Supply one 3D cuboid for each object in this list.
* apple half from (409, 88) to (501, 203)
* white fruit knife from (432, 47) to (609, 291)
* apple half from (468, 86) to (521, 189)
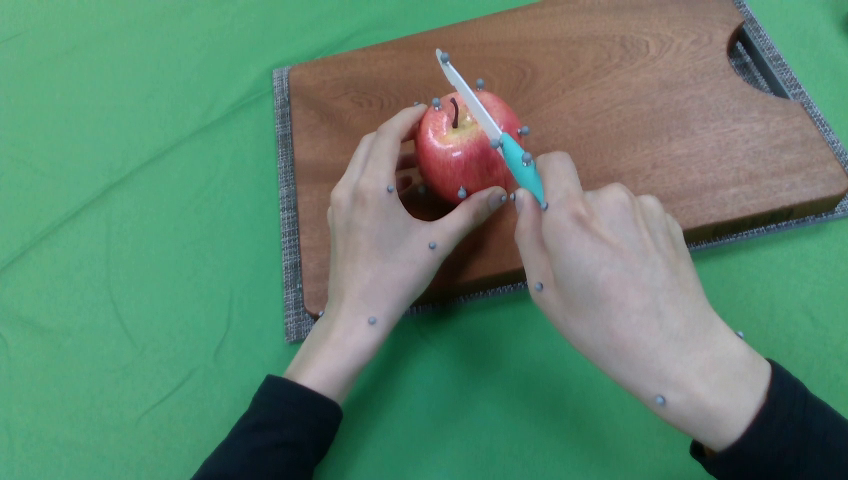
[{"bbox_3d":[0.018,-0.062,0.443,0.053,0.075,0.080,-25,61,1],"label":"apple half"},{"bbox_3d":[0.052,-0.056,0.379,0.016,0.027,0.205,-26,62,-10],"label":"white fruit knife"},{"bbox_3d":[0.053,-0.078,0.446,0.033,0.082,0.080,-26,59,0],"label":"apple half"}]
